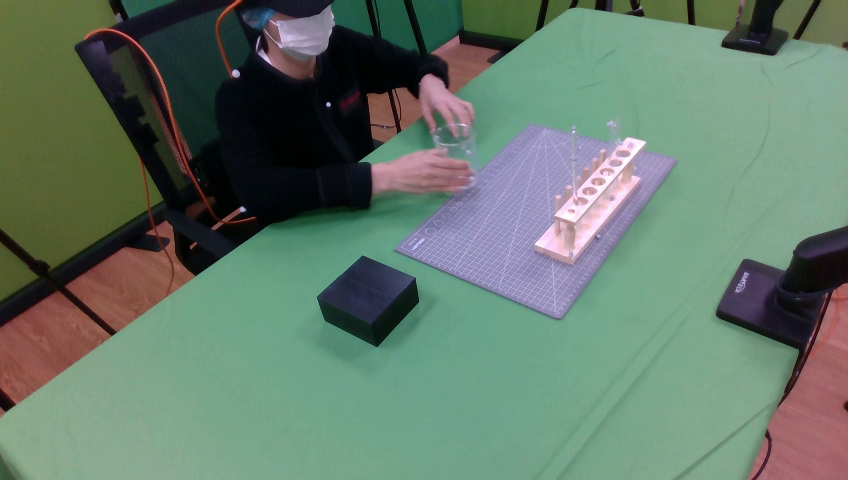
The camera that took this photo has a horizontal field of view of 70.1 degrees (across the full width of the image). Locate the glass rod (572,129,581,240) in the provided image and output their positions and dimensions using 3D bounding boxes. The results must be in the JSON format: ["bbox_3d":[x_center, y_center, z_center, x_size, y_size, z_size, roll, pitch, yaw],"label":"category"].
[{"bbox_3d":[0.220,-0.074,0.871,0.008,0.201,0.008,-8,42,8],"label":"glass rod"}]

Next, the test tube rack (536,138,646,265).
[{"bbox_3d":[0.268,-0.071,0.964,0.066,0.085,0.243,23,49,32],"label":"test tube rack"}]

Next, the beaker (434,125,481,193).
[{"bbox_3d":[0.063,-0.140,1.057,0.073,0.101,0.084,20,47,32],"label":"beaker"}]

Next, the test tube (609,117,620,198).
[{"bbox_3d":[0.298,-0.125,0.946,0.017,0.151,0.017,-8,42,8],"label":"test tube"}]
